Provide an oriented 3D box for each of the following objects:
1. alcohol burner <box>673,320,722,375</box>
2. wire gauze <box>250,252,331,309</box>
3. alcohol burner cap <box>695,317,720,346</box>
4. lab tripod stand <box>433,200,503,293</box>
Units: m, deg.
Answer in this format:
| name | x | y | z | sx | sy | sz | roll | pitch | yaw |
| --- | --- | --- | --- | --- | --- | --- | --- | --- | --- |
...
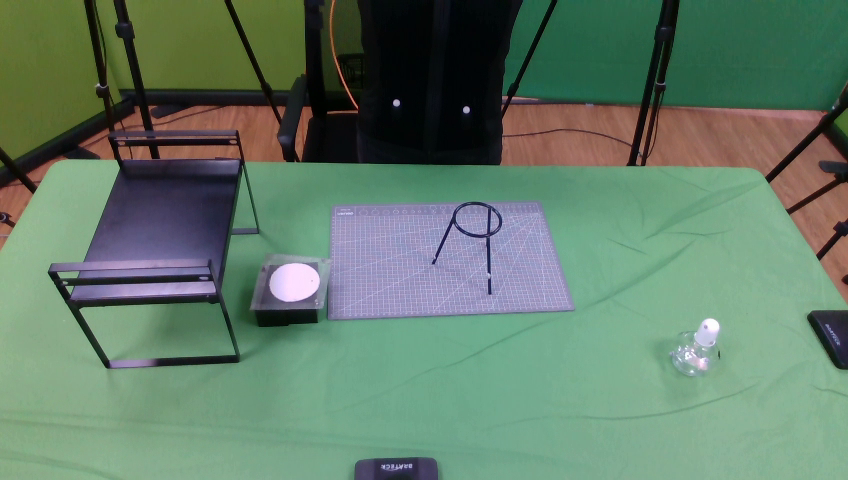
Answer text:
| name | x | y | z | sx | sy | sz | roll | pitch | yaw |
| --- | --- | --- | --- | --- | --- | --- | --- | --- | --- |
| alcohol burner | 0.458 | 0.170 | 1.002 | 0.078 | 0.120 | 0.077 | 1 | 45 | -1 |
| wire gauze | -0.229 | 0.071 | 1.052 | 0.121 | 0.011 | 0.124 | 4 | 47 | -2 |
| alcohol burner cap | 0.459 | 0.145 | 0.975 | 0.034 | 0.048 | 0.033 | -3 | 45 | 3 |
| lab tripod stand | 0.095 | 0.006 | 1.116 | 0.148 | 0.132 | 0.147 | 3 | 46 | -3 |
